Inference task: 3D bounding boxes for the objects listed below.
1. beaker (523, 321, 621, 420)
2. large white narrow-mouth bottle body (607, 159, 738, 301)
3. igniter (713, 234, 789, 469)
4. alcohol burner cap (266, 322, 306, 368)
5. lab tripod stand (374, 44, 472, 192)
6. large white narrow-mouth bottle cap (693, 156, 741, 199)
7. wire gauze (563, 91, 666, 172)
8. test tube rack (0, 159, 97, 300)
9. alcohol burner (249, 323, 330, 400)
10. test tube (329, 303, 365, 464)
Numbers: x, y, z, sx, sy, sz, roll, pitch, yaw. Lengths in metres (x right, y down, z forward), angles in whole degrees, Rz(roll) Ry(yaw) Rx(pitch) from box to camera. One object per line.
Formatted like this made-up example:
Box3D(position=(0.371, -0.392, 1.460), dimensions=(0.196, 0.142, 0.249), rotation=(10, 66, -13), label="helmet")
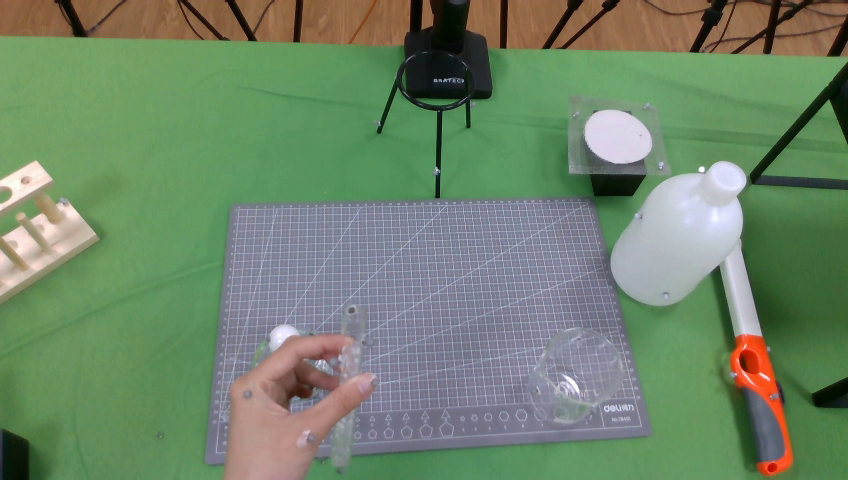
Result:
Box3D(position=(0.139, 0.135, 0.603), dimensions=(0.084, 0.101, 0.073), rotation=(-5, 61, -6), label="beaker")
Box3D(position=(0.271, -0.016, 0.646), dimensions=(0.102, 0.196, 0.101), rotation=(2, 60, -3), label="large white narrow-mouth bottle body")
Box3D(position=(0.360, 0.113, 0.679), dimensions=(0.057, 0.025, 0.274), rotation=(9, 60, -12), label="igniter")
Box3D(position=(-0.128, 0.094, 0.552), dimensions=(0.034, 0.048, 0.033), rotation=(1, 56, -1), label="alcohol burner cap")
Box3D(position=(0.007, -0.153, 0.734), dimensions=(0.148, 0.132, 0.147), rotation=(3, 62, -5), label="lab tripod stand")
Box3D(position=(0.276, -0.060, 0.572), dimensions=(0.038, 0.024, 0.037), rotation=(2, 61, -3), label="large white narrow-mouth bottle cap")
Box3D(position=(0.235, -0.136, 0.760), dimensions=(0.121, 0.011, 0.124), rotation=(5, 60, -2), label="wire gauze")
Box3D(position=(-0.478, 0.027, 0.618), dimensions=(0.066, 0.086, 0.242), rotation=(42, 66, 17), label="test tube rack")
Box3D(position=(-0.130, 0.111, 0.583), dimensions=(0.078, 0.120, 0.077), rotation=(3, 59, -5), label="alcohol burner")
Box3D(position=(-0.055, 0.105, 0.418), dimensions=(0.017, 0.151, 0.017), rotation=(7, 33, -4), label="test tube")
